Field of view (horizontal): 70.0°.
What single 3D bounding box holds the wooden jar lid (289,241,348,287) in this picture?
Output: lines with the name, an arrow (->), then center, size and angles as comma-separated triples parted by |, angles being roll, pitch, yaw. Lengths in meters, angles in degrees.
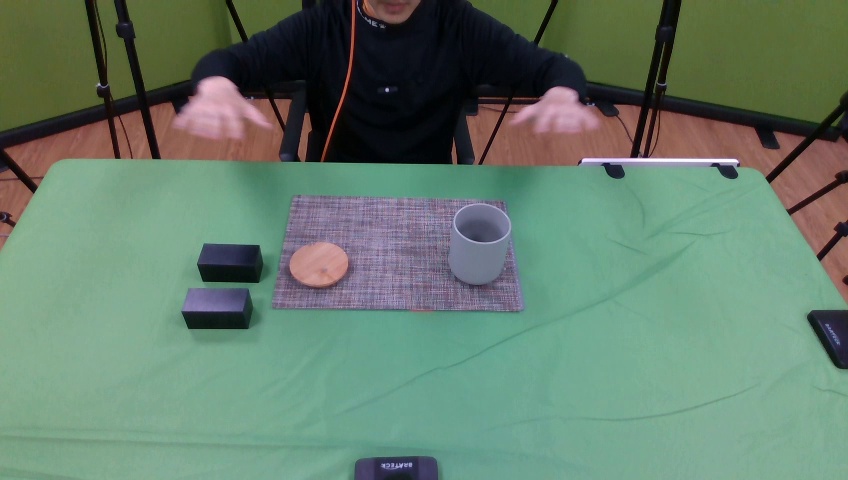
wooden jar lid -> -0.197, 0.047, 1.133 | 0.108, 0.021, 0.107 | 3, 45, -2

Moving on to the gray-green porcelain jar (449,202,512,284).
gray-green porcelain jar -> 0.100, 0.010, 1.116 | 0.106, 0.127, 0.105 | 2, 46, -2
